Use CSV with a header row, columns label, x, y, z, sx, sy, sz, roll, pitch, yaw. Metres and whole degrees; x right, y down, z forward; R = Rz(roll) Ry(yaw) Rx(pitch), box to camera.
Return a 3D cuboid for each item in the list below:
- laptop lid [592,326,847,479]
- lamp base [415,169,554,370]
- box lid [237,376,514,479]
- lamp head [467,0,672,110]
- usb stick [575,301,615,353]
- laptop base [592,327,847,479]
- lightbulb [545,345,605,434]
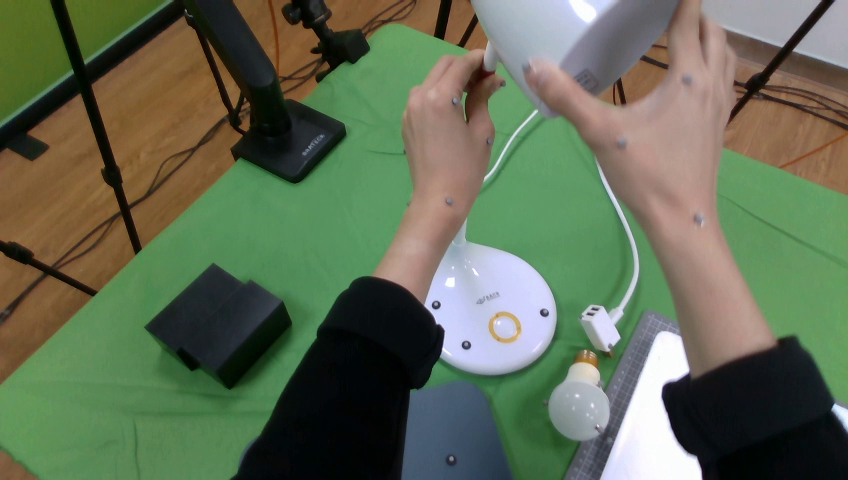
label,x,y,z,sx,sy,sz,roll,pitch,yaw
laptop lid,0.350,0.245,0.566,0.355,0.013,0.241,26,62,17
lamp base,0.060,0.023,0.640,0.160,0.182,0.177,-31,58,-19
box lid,-0.022,0.315,0.545,0.263,0.015,0.367,-13,57,-8
lamp head,0.074,-0.157,0.372,0.112,0.113,0.122,-33,66,-20
usb stick,0.192,0.098,0.667,0.027,0.059,0.021,-37,20,-27
laptop base,0.352,0.250,0.577,0.352,0.023,0.234,24,63,16
lightbulb,0.160,0.151,0.631,0.059,0.060,0.107,14,41,11
